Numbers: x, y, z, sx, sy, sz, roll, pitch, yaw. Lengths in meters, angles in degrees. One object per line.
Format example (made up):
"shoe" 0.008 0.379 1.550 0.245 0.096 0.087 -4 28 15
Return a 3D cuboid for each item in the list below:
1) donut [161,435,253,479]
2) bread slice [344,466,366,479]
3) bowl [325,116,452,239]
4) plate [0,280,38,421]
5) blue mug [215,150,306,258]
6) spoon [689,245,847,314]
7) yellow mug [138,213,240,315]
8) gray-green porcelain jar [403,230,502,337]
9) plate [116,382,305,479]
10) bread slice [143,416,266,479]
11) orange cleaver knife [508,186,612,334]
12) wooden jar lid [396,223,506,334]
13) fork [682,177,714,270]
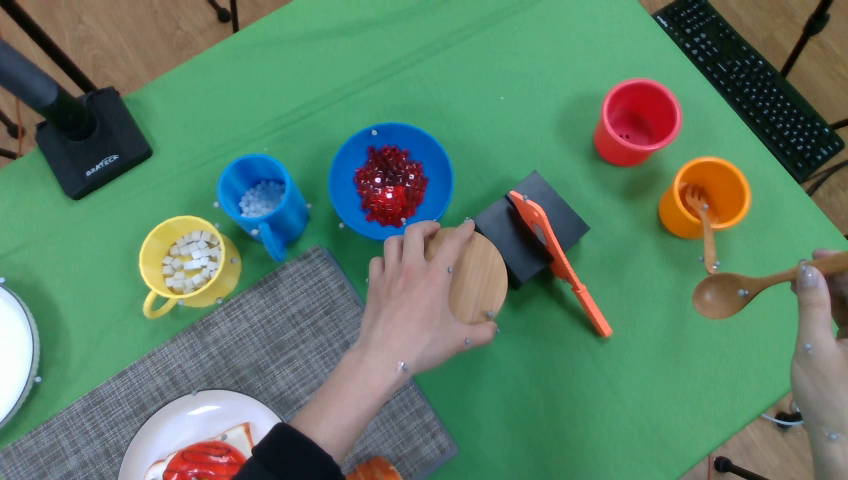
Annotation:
"donut" -0.233 0.262 0.655 0.099 0.048 0.098 1 76 -3
"bread slice" -0.053 0.287 0.633 0.018 0.135 0.106 -27 75 -16
"bowl" -0.041 -0.066 0.752 0.151 0.077 0.150 0 76 0
"plate" -0.559 0.139 0.719 0.208 0.039 0.206 0 76 0
"blue mug" -0.190 -0.035 0.729 0.082 0.106 0.116 -14 76 -3
"spoon" 0.279 0.026 0.472 0.022 0.194 0.041 3 74 -14
"yellow mug" -0.291 0.036 0.732 0.099 0.064 0.130 33 79 8
"gray-green porcelain jar" 0.030 0.055 0.696 0.106 0.127 0.105 0 75 0
"plate" -0.236 0.267 0.682 0.209 0.038 0.208 0 75 0
"bread slice" -0.248 0.274 0.685 0.131 0.019 0.104 -21 76 -9
"orange cleaver knife" 0.162 0.025 0.726 0.012 0.076 0.212 -36 108 -7
"wooden jar lid" 0.027 0.038 0.589 0.108 0.021 0.108 -2 79 12
"fork" 0.320 -0.024 0.704 0.028 0.019 0.206 27 33 1
